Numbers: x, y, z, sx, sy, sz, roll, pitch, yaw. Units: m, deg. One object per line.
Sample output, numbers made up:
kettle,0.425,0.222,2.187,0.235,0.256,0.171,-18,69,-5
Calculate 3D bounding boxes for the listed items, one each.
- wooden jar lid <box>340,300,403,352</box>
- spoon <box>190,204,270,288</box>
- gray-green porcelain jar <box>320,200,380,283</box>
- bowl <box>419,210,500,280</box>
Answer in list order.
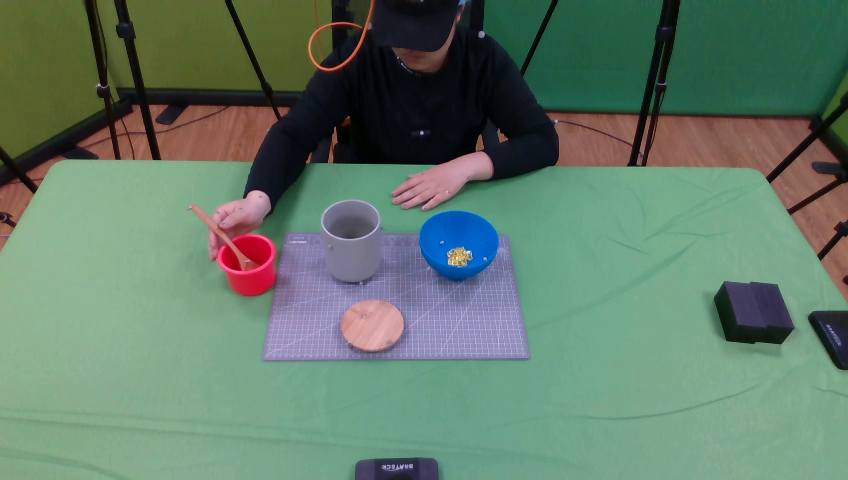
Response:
wooden jar lid,-0.090,0.150,1.046,0.108,0.021,0.107,3,47,-3
spoon,-0.345,0.010,1.079,0.194,0.021,0.041,53,49,-15
gray-green porcelain jar,-0.132,0.007,1.106,0.106,0.127,0.105,2,46,-2
bowl,0.062,0.022,1.140,0.151,0.077,0.150,2,46,-2
